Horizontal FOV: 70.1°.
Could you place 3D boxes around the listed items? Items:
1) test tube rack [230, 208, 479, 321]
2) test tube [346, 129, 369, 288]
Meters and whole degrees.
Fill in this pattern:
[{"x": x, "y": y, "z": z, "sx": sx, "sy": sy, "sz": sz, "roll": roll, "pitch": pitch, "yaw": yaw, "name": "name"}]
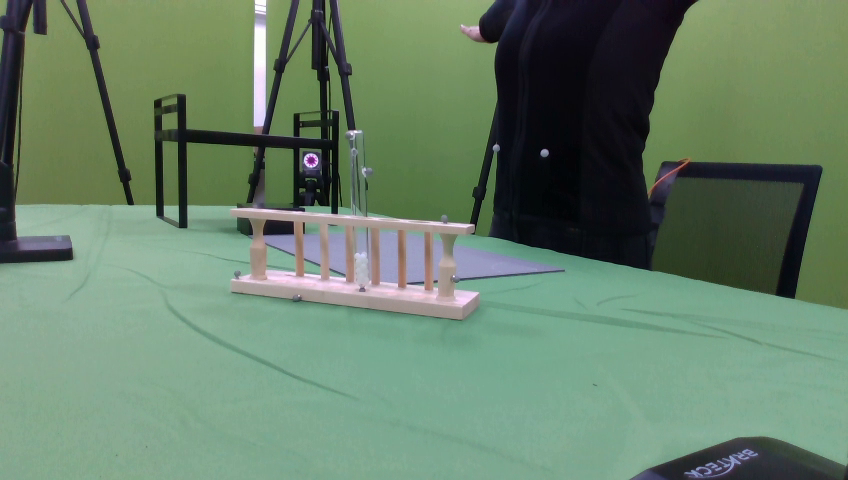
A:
[{"x": -0.069, "y": 0.017, "z": 0.598, "sx": 0.242, "sy": 0.085, "sz": 0.067, "roll": 5, "pitch": 8, "yaw": 18, "name": "test tube rack"}, {"x": -0.062, "y": -0.028, "z": 0.570, "sx": 0.017, "sy": 0.150, "sz": 0.017, "roll": -1, "pitch": 10, "yaw": 1, "name": "test tube"}]
